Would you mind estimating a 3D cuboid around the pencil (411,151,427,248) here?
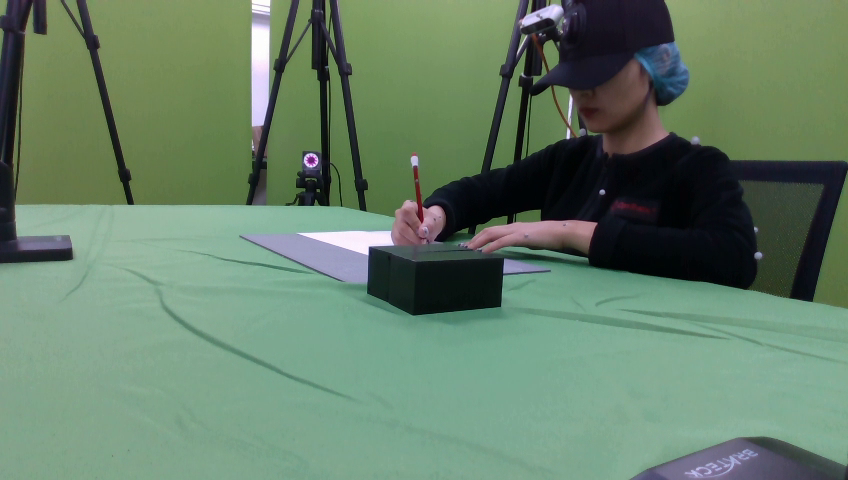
[{"bbox_3d":[-0.008,-0.067,0.955,0.012,0.193,0.012,-5,-35,-3],"label":"pencil"}]
